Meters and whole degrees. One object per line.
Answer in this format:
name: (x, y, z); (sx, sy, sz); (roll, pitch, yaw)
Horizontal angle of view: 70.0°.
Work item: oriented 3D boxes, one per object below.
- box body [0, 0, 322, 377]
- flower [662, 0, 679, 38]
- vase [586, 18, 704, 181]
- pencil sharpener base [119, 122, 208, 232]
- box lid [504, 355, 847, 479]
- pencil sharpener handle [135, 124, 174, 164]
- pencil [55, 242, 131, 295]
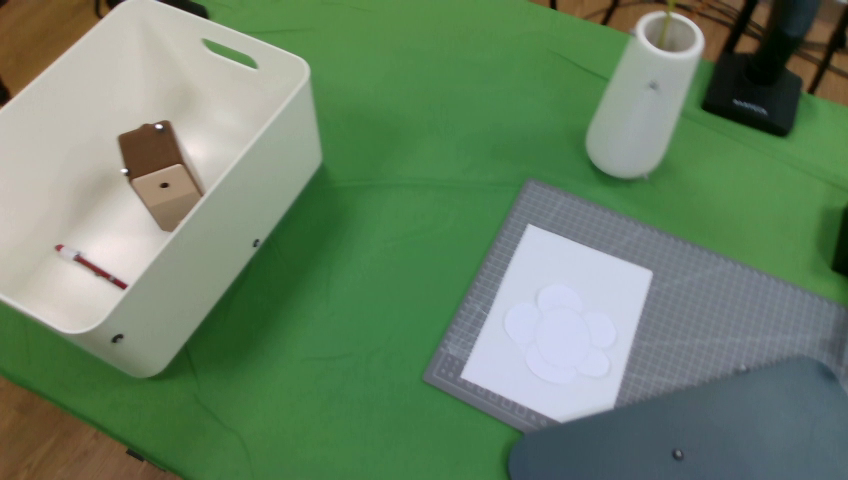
box body: (-0.306, -0.061, 0.669); (0.253, 0.161, 0.362); (24, 62, 13)
flower: (0.257, -0.214, 0.650); (0.044, 0.365, 0.038); (17, 43, 13)
vase: (0.257, -0.159, 0.715); (0.098, 0.201, 0.097); (0, 58, 0)
pencil sharpener base: (-0.296, -0.072, 0.699); (0.061, 0.108, 0.076); (-21, 61, -12)
box lid: (0.285, 0.269, 0.574); (0.372, 0.015, 0.260); (-13, 62, -8)
pencil sharpener handle: (-0.316, -0.118, 0.713); (0.036, 0.068, 0.030); (-23, 61, -8)
pencil: (-0.344, 0.052, 0.684); (0.193, 0.012, 0.012); (30, 63, 12)
